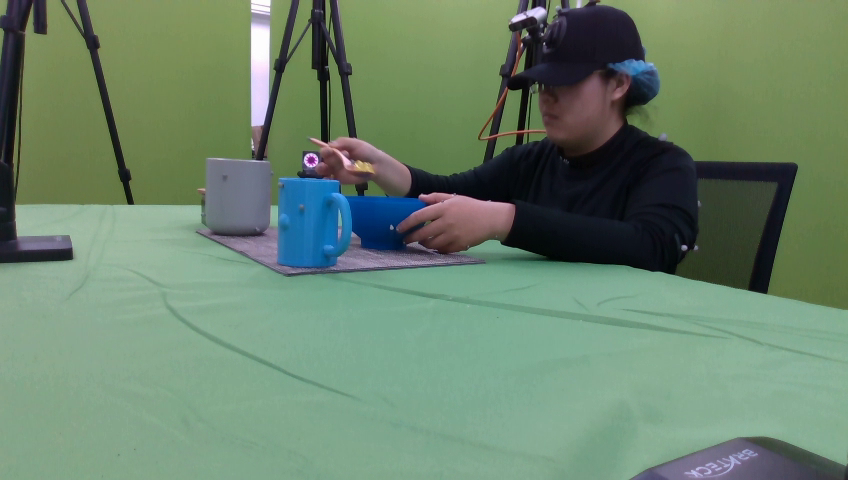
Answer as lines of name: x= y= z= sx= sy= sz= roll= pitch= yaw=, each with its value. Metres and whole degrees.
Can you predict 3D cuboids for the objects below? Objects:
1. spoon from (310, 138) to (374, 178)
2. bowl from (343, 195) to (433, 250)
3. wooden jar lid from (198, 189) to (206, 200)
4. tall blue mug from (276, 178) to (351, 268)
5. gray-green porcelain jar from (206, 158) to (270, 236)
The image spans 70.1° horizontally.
spoon: x=-0.145 y=-0.144 z=1.033 sx=0.042 sy=0.021 sz=0.192 roll=1 pitch=27 yaw=-40
bowl: x=-0.063 y=-0.028 z=0.958 sx=0.151 sy=0.077 sz=0.151 roll=3 pitch=7 yaw=0
wooden jar lid: x=-0.382 y=-0.088 z=1.175 sx=0.108 sy=0.020 sz=0.108 roll=3 pitch=8 yaw=0
tall blue mug: x=-0.134 y=-0.022 z=0.766 sx=0.107 sy=0.108 sz=0.078 roll=4 pitch=6 yaw=12
gray-green porcelain jar: x=-0.316 y=-0.074 z=1.031 sx=0.106 sy=0.126 sz=0.106 roll=3 pitch=7 yaw=0
